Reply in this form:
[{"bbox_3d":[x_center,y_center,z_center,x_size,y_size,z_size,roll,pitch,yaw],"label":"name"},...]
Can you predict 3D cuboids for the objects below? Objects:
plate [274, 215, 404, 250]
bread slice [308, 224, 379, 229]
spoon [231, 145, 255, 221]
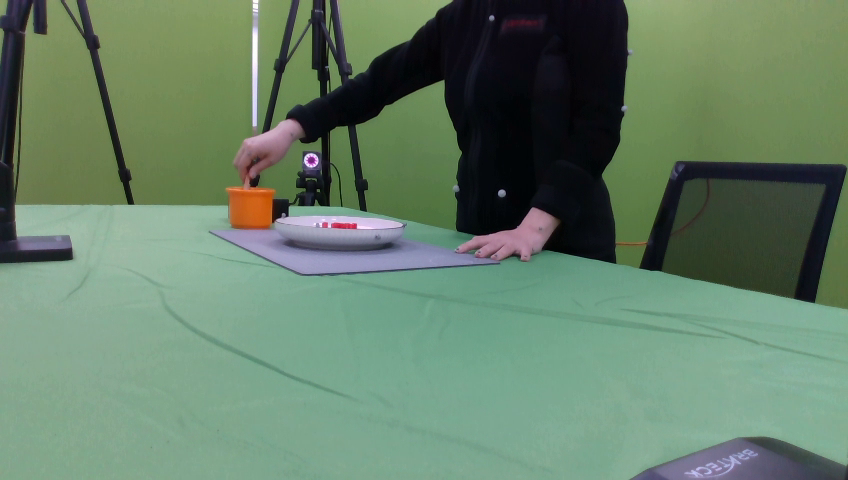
[{"bbox_3d":[-0.137,-0.013,0.981,0.209,0.038,0.209,2,7,0],"label":"plate"},{"bbox_3d":[-0.134,-0.012,0.974,0.135,0.018,0.106,-3,8,-33],"label":"bread slice"},{"bbox_3d":[-0.349,-0.116,1.195,0.042,0.193,0.021,6,-31,-11],"label":"spoon"}]
